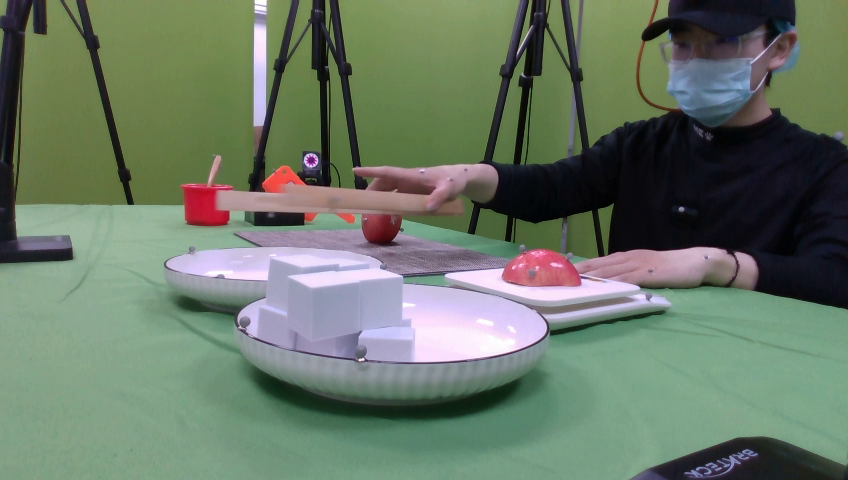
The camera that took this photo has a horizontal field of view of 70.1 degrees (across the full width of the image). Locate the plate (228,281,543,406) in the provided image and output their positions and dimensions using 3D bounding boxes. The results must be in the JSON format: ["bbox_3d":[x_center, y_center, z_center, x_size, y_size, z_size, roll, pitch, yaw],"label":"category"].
[{"bbox_3d":[-0.025,0.067,0.413,0.208,0.039,0.207,3,7,0],"label":"plate"}]

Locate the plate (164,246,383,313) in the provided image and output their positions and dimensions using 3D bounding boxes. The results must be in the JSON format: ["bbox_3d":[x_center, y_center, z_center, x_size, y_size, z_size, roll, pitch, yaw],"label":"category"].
[{"bbox_3d":[-0.145,0.038,0.600,0.209,0.038,0.209,2,7,0],"label":"plate"}]

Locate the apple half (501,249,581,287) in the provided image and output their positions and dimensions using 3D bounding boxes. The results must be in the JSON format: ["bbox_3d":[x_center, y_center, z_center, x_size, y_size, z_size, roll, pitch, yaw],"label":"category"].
[{"bbox_3d":[0.111,0.024,0.585,0.081,0.033,0.081,2,8,0],"label":"apple half"}]

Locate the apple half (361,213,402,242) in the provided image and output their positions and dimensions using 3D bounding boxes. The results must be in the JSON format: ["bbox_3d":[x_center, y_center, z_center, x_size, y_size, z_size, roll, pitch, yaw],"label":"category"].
[{"bbox_3d":[-0.066,-0.032,1.014,0.053,0.074,0.081,9,6,21],"label":"apple half"}]

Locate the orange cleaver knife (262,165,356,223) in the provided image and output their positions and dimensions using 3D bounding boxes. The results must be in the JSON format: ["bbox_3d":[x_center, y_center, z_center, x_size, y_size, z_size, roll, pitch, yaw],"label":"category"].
[{"bbox_3d":[-0.243,-0.081,1.292,0.212,0.077,0.012,34,-8,-26],"label":"orange cleaver knife"}]

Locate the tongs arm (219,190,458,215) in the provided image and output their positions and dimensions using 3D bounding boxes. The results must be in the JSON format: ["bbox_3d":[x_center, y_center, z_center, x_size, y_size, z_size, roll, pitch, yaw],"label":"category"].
[{"bbox_3d":[-0.095,-0.051,0.851,0.050,0.026,0.387,-4,-2,44],"label":"tongs arm"}]

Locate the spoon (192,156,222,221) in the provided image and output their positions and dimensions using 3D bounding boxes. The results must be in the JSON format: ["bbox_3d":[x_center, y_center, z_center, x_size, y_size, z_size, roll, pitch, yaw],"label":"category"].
[{"bbox_3d":[-0.430,-0.108,1.222,0.041,0.021,0.193,-1,52,1],"label":"spoon"}]

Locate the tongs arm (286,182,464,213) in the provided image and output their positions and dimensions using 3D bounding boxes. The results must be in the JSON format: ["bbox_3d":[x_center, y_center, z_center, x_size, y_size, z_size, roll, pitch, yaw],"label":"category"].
[{"bbox_3d":[-0.040,-0.052,0.804,0.028,0.027,0.389,-7,-3,33],"label":"tongs arm"}]

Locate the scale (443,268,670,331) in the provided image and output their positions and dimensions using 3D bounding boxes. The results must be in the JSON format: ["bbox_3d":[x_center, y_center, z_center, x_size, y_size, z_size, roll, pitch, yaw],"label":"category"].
[{"bbox_3d":[0.131,0.052,0.603,0.202,0.031,0.148,-2,9,-37],"label":"scale"}]
